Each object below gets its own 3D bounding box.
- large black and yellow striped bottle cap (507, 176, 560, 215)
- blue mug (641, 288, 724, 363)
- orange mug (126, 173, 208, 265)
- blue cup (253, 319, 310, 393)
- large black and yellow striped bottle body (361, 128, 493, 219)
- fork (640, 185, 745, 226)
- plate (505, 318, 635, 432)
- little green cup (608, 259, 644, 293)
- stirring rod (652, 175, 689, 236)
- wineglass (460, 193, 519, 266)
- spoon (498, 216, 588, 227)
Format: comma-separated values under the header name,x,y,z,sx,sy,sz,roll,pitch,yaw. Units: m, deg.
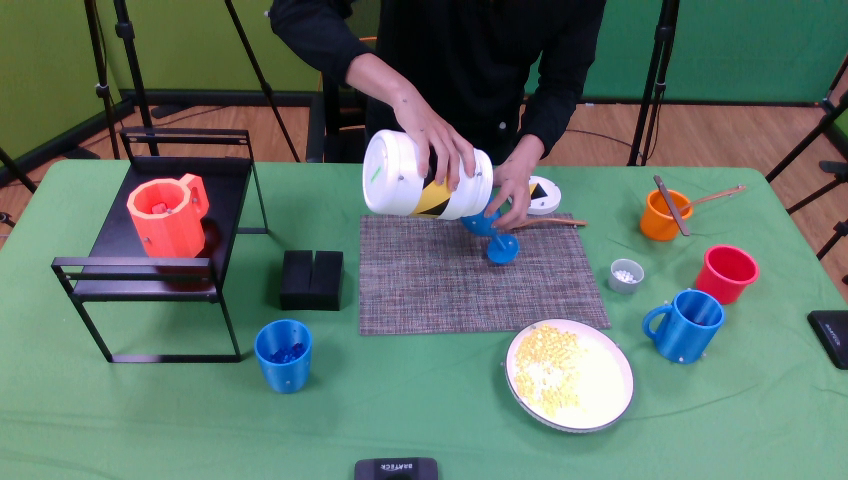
name,x,y,z,sx,sy,sz,roll,pitch,yaw
large black and yellow striped bottle cap,0.237,-0.098,1.312,0.115,0.019,0.114,2,42,-1
blue mug,0.432,0.144,1.033,0.116,0.106,0.082,9,46,5
orange mug,-0.371,-0.039,0.902,0.083,0.101,0.126,18,52,14
blue cup,-0.217,0.187,0.943,0.093,0.101,0.092,4,45,-3
large black and yellow striped bottle body,0.005,-0.102,0.969,0.184,0.131,0.130,4,43,-26
fork,0.534,-0.069,1.215,0.207,0.019,0.028,-26,28,33
plate,0.235,0.221,0.991,0.209,0.038,0.208,2,46,-2
little green cup,0.379,0.070,1.147,0.061,0.039,0.061,3,45,-3
stirring rod,0.491,-0.072,1.211,0.014,0.006,0.175,0,46,-6
wineglass,0.117,-0.027,1.099,0.073,0.173,0.073,-13,55,20
spoon,0.246,-0.039,1.247,0.194,0.022,0.041,-2,24,-6
